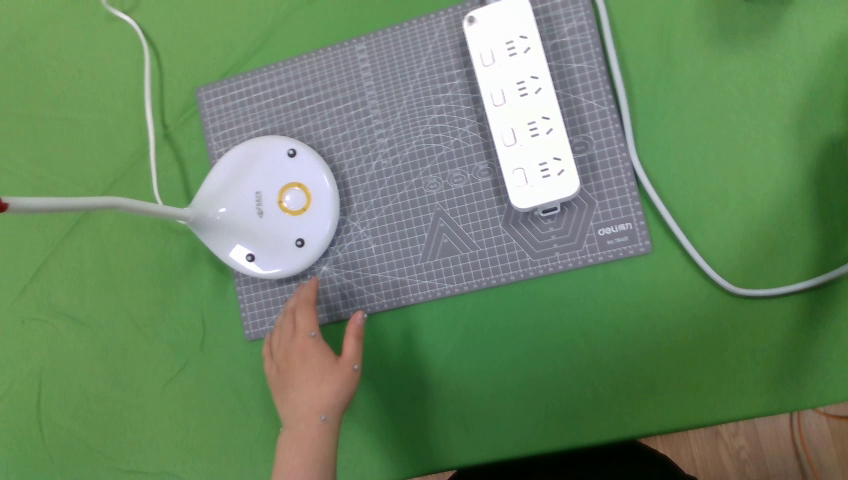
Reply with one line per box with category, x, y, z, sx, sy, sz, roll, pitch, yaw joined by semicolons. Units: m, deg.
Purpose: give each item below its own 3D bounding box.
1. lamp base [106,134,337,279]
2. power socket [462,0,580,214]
lamp base;-0.201;-0.036;0.599;0.179;0.181;0.160;-19;84;14
power socket;0.097;-0.138;0.611;0.072;0.033;0.226;-15;85;10
